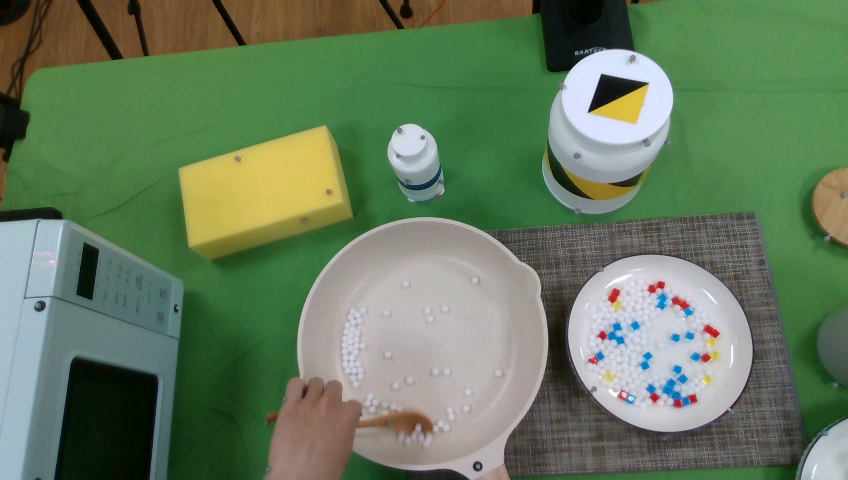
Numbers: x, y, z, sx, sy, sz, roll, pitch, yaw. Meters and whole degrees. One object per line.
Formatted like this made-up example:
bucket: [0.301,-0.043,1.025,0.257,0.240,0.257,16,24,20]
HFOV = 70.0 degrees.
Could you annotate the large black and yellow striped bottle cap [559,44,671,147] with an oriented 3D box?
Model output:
large black and yellow striped bottle cap: [0.202,-0.154,0.642,0.115,0.019,0.114,-2,74,6]

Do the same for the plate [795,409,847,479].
plate: [0.499,0.278,0.639,0.207,0.039,0.206,-2,72,6]

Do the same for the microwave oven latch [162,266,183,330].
microwave oven latch: [-0.329,0.075,0.777,0.030,0.030,0.078,-2,73,5]

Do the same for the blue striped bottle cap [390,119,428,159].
blue striped bottle cap: [-0.018,-0.121,0.724,0.044,0.021,0.044,-3,69,8]

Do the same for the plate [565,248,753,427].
plate: [0.270,0.112,0.713,0.209,0.038,0.208,-2,73,7]

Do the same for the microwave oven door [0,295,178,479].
microwave oven door: [-0.338,0.253,0.616,0.039,0.245,0.353,-4,72,5]

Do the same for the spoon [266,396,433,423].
spoon: [-0.078,0.193,0.678,0.195,0.042,0.021,1,55,-29]

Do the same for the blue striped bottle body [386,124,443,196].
blue striped bottle body: [-0.012,-0.106,0.773,0.063,0.121,0.062,-2,72,6]

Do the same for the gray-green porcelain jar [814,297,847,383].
gray-green porcelain jar: [0.495,0.103,0.647,0.106,0.127,0.105,-2,72,6]

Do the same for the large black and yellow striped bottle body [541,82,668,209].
large black and yellow striped bottle body: [0.211,-0.127,0.722,0.130,0.185,0.130,-2,72,6]

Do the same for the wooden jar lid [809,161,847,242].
wooden jar lid: [0.531,-0.045,0.746,0.108,0.021,0.108,-2,74,6]

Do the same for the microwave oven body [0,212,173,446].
microwave oven body: [-0.483,0.223,0.647,0.326,0.262,0.439,-4,73,5]

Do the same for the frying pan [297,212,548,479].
frying pan: [0.040,0.195,0.679,0.307,0.103,0.483,-26,64,-1]

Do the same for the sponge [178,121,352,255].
sponge: [-0.213,-0.068,0.816,0.207,0.061,0.117,-17,72,0]
